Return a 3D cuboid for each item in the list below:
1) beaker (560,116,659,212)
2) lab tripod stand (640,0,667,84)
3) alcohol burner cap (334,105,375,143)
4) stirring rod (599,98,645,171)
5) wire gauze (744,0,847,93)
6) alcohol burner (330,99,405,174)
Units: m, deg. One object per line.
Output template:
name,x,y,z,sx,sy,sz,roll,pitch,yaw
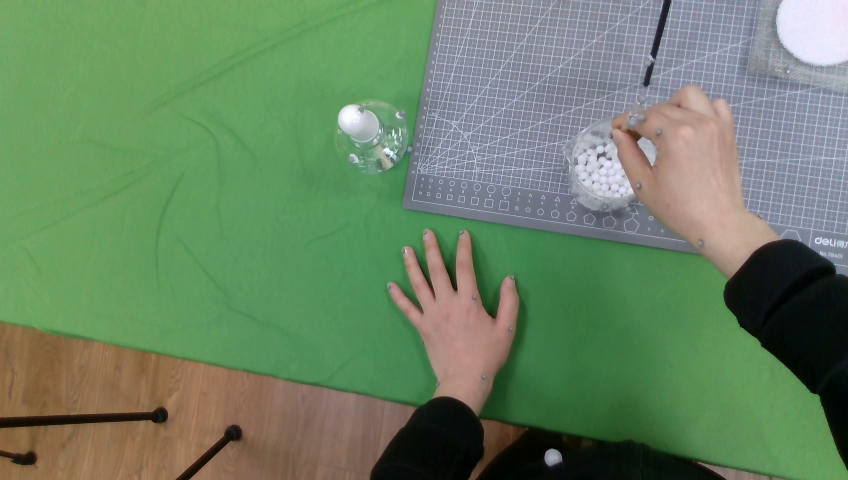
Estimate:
beaker,0.167,-0.067,0.567,0.084,0.100,0.074,16,88,12
lab tripod stand,0.210,-0.234,0.553,0.148,0.132,0.148,0,87,8
alcohol burner cap,-0.068,-0.111,0.569,0.034,0.048,0.034,0,89,10
stirring rod,0.162,-0.083,0.503,0.014,0.177,0.006,-8,80,9
wire gauze,0.382,-0.209,0.585,0.125,0.011,0.121,14,88,8
alcohol burner,-0.060,-0.108,0.604,0.078,0.119,0.077,-1,84,9
